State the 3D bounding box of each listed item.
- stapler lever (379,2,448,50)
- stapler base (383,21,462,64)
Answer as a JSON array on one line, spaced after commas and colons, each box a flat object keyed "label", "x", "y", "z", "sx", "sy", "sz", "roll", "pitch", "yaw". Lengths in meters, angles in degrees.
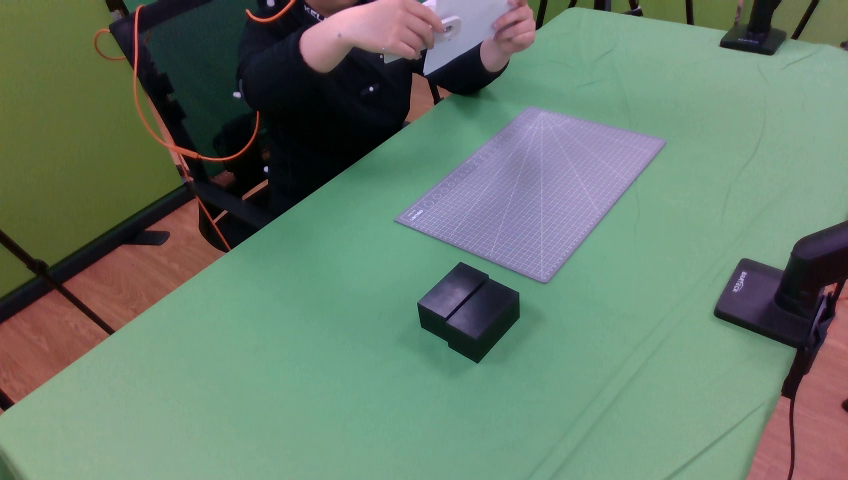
[{"label": "stapler lever", "x": -0.017, "y": -0.326, "z": 0.919, "sx": 0.118, "sy": 0.027, "sz": 0.040, "roll": -22, "pitch": 77, "yaw": -11}, {"label": "stapler base", "x": -0.006, "y": -0.306, "z": 0.915, "sx": 0.131, "sy": 0.041, "sz": 0.024, "roll": -24, "pitch": 77, "yaw": -12}]
